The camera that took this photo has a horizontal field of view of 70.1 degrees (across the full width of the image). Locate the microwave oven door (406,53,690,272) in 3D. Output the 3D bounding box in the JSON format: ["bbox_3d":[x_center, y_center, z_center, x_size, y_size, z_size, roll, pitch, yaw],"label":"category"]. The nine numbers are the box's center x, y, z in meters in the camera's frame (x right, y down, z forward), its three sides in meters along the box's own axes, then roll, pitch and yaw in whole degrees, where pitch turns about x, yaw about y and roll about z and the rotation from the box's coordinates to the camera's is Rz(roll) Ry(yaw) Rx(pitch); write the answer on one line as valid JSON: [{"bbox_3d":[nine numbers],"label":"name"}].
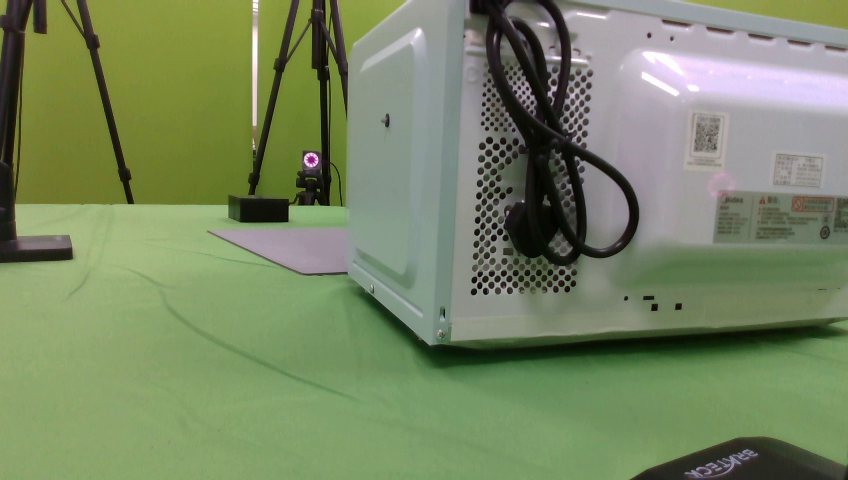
[{"bbox_3d":[0.159,-0.085,0.731,0.357,0.243,0.039,0,8,-17],"label":"microwave oven door"}]

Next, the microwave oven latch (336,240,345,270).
[{"bbox_3d":[-0.054,0.017,0.654,0.079,0.029,0.030,3,6,-3],"label":"microwave oven latch"}]

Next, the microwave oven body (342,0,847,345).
[{"bbox_3d":[0.169,-0.059,0.573,0.444,0.260,0.324,1,7,-20],"label":"microwave oven body"}]

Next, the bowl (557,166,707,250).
[{"bbox_3d":[0.214,-0.035,0.640,0.151,0.077,0.151,2,11,0],"label":"bowl"}]
